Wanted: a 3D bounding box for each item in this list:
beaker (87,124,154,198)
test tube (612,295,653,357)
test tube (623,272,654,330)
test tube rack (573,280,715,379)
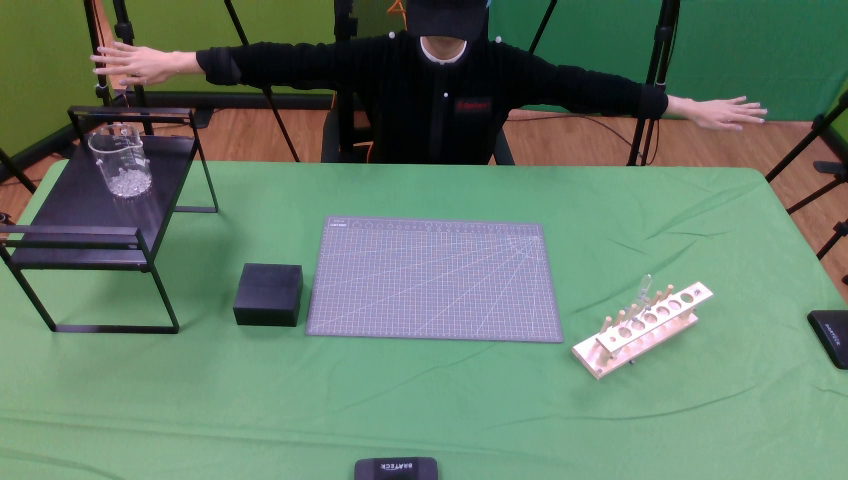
[{"bbox_3d":[-0.482,-0.124,0.978,0.084,0.101,0.073,9,46,4],"label":"beaker"},{"bbox_3d":[0.329,0.141,0.966,0.017,0.151,0.017,5,45,-5],"label":"test tube"},{"bbox_3d":[0.356,0.104,1.010,0.017,0.151,0.017,1,46,-1],"label":"test tube"},{"bbox_3d":[0.378,0.140,1.038,0.242,0.085,0.066,-22,51,-23],"label":"test tube rack"}]
